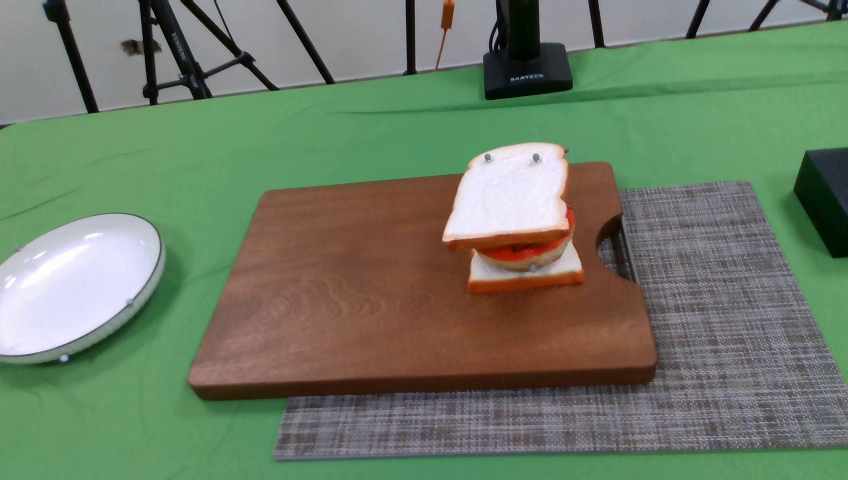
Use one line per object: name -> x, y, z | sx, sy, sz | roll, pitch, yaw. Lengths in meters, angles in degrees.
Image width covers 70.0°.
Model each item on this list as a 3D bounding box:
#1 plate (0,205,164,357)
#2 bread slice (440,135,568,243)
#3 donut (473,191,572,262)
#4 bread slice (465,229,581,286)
plate -> -0.383, 0.044, 0.662 | 0.209, 0.038, 0.207 | -6, 44, 7
bread slice -> 0.074, -0.049, 0.544 | 0.106, 0.018, 0.133 | -8, 41, 18
donut -> 0.085, -0.022, 0.555 | 0.099, 0.049, 0.098 | -7, 45, 8
bread slice -> 0.088, -0.012, 0.588 | 0.105, 0.019, 0.130 | -6, 45, 5
